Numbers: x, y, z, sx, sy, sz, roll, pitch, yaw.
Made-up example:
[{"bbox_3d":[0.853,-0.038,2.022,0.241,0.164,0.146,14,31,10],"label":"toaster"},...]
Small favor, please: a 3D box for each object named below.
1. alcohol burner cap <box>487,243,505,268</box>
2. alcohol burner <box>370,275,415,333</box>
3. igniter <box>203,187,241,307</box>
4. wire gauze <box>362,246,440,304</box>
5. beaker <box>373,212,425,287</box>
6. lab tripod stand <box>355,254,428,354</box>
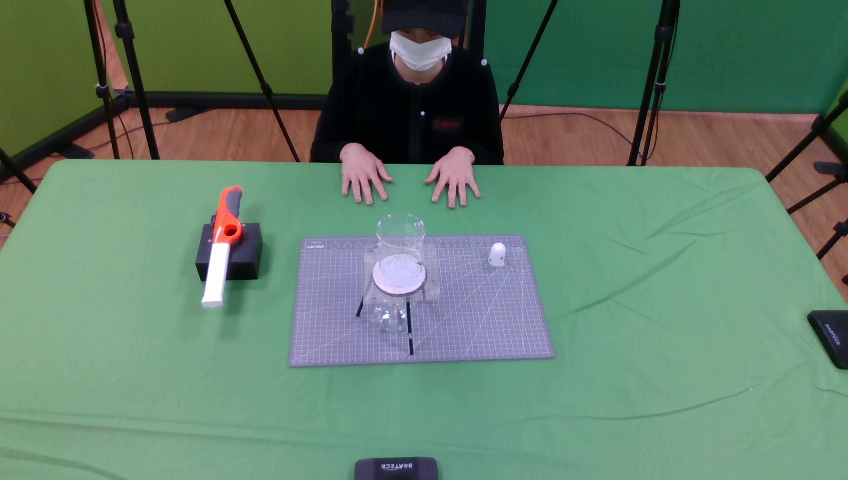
[{"bbox_3d":[0.141,0.027,1.166,0.034,0.048,0.033,2,45,-2],"label":"alcohol burner cap"},{"bbox_3d":[-0.054,0.103,1.026,0.078,0.120,0.077,1,44,-1],"label":"alcohol burner"},{"bbox_3d":[-0.365,0.003,1.098,0.057,0.025,0.274,-1,49,-7],"label":"igniter"},{"bbox_3d":[-0.038,0.052,0.972,0.121,0.011,0.124,0,44,-5],"label":"wire gauze"},{"bbox_3d":[-0.036,0.019,0.936,0.074,0.101,0.083,-29,54,-26],"label":"beaker"},{"bbox_3d":[-0.046,0.100,1.017,0.148,0.132,0.147,1,47,-1],"label":"lab tripod stand"}]
